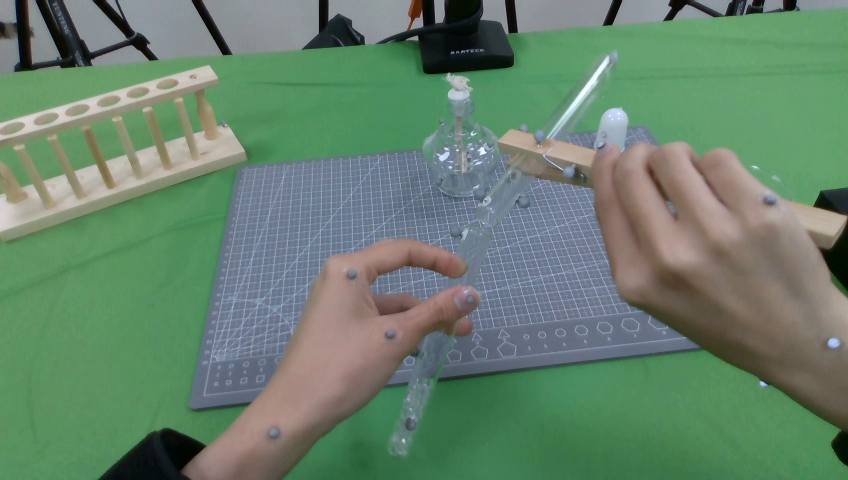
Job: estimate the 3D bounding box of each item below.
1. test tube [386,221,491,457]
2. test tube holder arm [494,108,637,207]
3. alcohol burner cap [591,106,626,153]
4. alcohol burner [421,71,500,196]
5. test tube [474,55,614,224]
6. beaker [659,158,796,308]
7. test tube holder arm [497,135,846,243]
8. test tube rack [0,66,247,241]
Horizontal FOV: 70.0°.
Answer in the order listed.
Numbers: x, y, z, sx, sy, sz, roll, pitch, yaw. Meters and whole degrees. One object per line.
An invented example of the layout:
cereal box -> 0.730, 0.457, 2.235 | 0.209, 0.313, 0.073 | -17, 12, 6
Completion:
test tube -> 0.006, 0.060, 0.347 | 0.017, 0.151, 0.017 | 18, 14, -4
test tube holder arm -> 0.076, -0.046, 0.330 | 0.087, 0.010, 0.015 | 35, 70, 25
alcohol burner cap -> 0.195, -0.118, 0.635 | 0.034, 0.048, 0.033 | -2, 43, 2
alcohol burner -> 0.034, -0.103, 0.577 | 0.078, 0.120, 0.077 | -3, 42, 3
test tube -> 0.075, -0.064, 0.359 | 0.017, 0.017, 0.150 | 25, 60, 27
beaker -> 0.226, -0.003, 0.470 | 0.074, 0.101, 0.083 | -27, 47, -23
test tube holder arm -> 0.105, -0.032, 0.299 | 0.015, 0.013, 0.176 | -45, 42, -19
test tube rack -> -0.316, -0.092, 0.613 | 0.243, 0.086, 0.066 | -23, 47, -20
